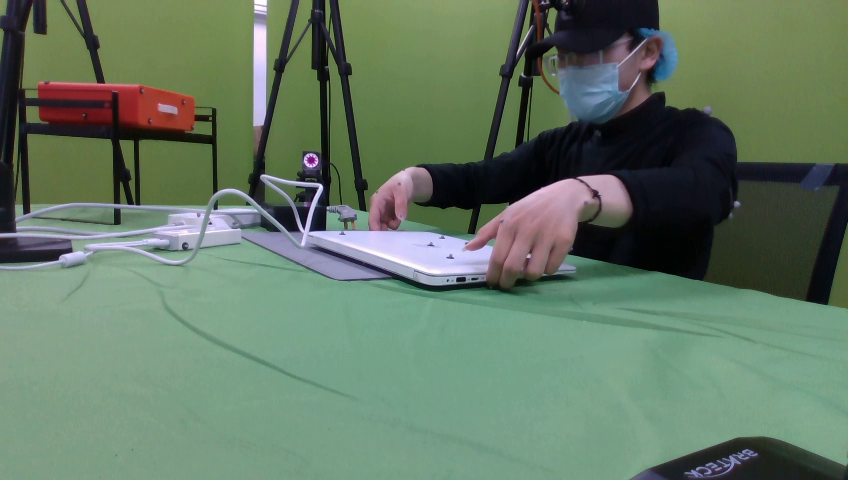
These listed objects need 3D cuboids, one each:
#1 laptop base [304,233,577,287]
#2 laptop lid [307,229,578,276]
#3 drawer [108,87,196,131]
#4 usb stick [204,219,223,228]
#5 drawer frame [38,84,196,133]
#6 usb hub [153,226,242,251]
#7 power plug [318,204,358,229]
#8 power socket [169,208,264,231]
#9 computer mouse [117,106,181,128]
[{"bbox_3d":[0.007,0.023,0.850,0.237,0.023,0.352,1,8,-34],"label":"laptop base"},{"bbox_3d":[0.009,0.009,0.849,0.243,0.013,0.355,0,8,-32],"label":"laptop lid"},{"bbox_3d":[-0.609,-0.264,1.229,0.211,0.073,0.194,3,8,9],"label":"drawer"},{"bbox_3d":[-0.346,-0.018,1.010,0.021,0.027,0.059,-42,-1,-8],"label":"usb stick"},{"bbox_3d":[-0.612,-0.265,1.229,0.213,0.082,0.202,3,8,7],"label":"drawer frame"},{"bbox_3d":[-0.337,-0.003,0.907,0.049,0.025,0.125,6,9,28],"label":"usb hub"},{"bbox_3d":[-0.169,-0.044,1.207,0.072,0.052,0.035,-11,-10,-1],"label":"power plug"},{"bbox_3d":[-0.381,-0.038,1.128,0.072,0.032,0.227,4,8,16],"label":"power socket"},{"bbox_3d":[-0.566,-0.252,1.242,0.062,0.041,0.118,19,27,41],"label":"computer mouse"}]
